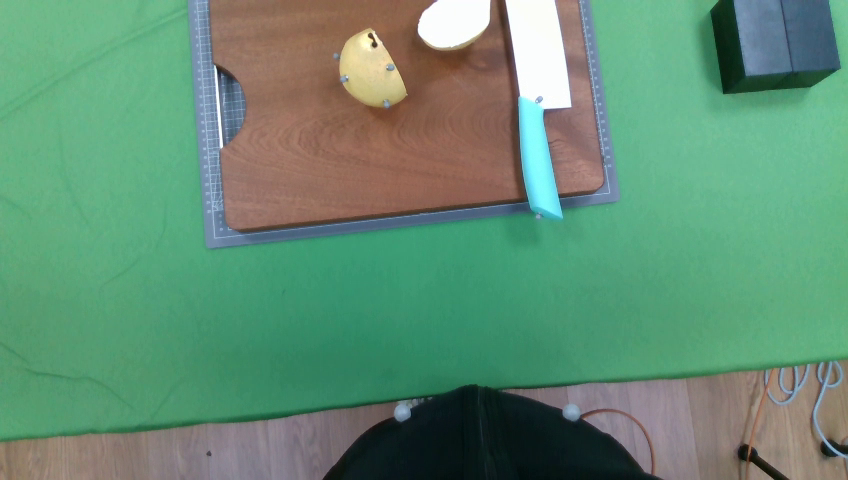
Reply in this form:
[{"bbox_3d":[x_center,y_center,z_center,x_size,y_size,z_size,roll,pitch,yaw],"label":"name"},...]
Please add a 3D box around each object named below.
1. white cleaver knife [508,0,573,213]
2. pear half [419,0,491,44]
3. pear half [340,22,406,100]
[{"bbox_3d":[0.126,-0.169,0.636,0.066,0.021,0.285,-5,85,-10],"label":"white cleaver knife"},{"bbox_3d":[0.037,-0.233,0.637,0.070,0.031,0.088,40,71,20],"label":"pear half"},{"bbox_3d":[-0.055,-0.175,0.593,0.056,0.110,0.076,-36,80,-4],"label":"pear half"}]
